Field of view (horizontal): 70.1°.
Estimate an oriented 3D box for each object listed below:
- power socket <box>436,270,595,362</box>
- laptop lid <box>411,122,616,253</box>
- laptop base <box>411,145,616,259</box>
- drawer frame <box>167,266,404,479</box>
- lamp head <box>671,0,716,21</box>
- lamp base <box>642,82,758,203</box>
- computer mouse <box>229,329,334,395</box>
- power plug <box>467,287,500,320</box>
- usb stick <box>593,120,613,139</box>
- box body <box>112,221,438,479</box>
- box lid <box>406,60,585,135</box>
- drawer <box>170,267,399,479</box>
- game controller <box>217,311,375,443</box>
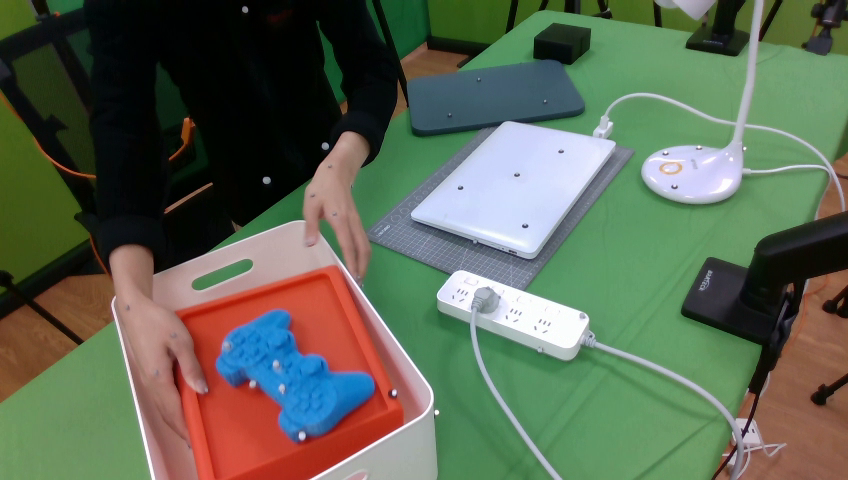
[{"bbox_3d":[0.119,0.101,0.832,0.225,0.033,0.072,19,48,27],"label":"power socket"},{"bbox_3d":[0.165,-0.111,1.067,0.240,0.013,0.357,19,46,31],"label":"laptop lid"},{"bbox_3d":[0.168,-0.101,1.073,0.234,0.023,0.355,17,46,30],"label":"laptop base"},{"bbox_3d":[-0.153,0.149,0.662,0.202,0.083,0.212,-17,50,-19],"label":"drawer frame"},{"bbox_3d":[0.375,-0.373,0.807,0.122,0.113,0.112,-40,27,32],"label":"lamp head"},{"bbox_3d":[0.464,-0.174,0.992,0.179,0.181,0.159,-5,41,-1],"label":"lamp base"},{"bbox_3d":[-0.163,0.135,0.696,0.118,0.041,0.062,-9,45,-16],"label":"computer mouse"},{"bbox_3d":[0.073,0.092,0.814,0.035,0.053,0.073,29,54,34],"label":"power plug"},{"bbox_3d":[0.336,-0.201,1.146,0.021,0.027,0.059,25,52,27],"label":"usb stick"},{"bbox_3d":[-0.170,0.168,0.693,0.255,0.161,0.360,-24,43,-19],"label":"box body"},{"bbox_3d":[0.150,-0.320,1.340,0.372,0.015,0.261,-8,40,0],"label":"box lid"},{"bbox_3d":[-0.154,0.148,0.664,0.195,0.073,0.210,-16,51,-20],"label":"drawer"},{"bbox_3d":[-0.134,0.131,0.608,0.154,0.052,0.097,32,57,25],"label":"game controller"}]
